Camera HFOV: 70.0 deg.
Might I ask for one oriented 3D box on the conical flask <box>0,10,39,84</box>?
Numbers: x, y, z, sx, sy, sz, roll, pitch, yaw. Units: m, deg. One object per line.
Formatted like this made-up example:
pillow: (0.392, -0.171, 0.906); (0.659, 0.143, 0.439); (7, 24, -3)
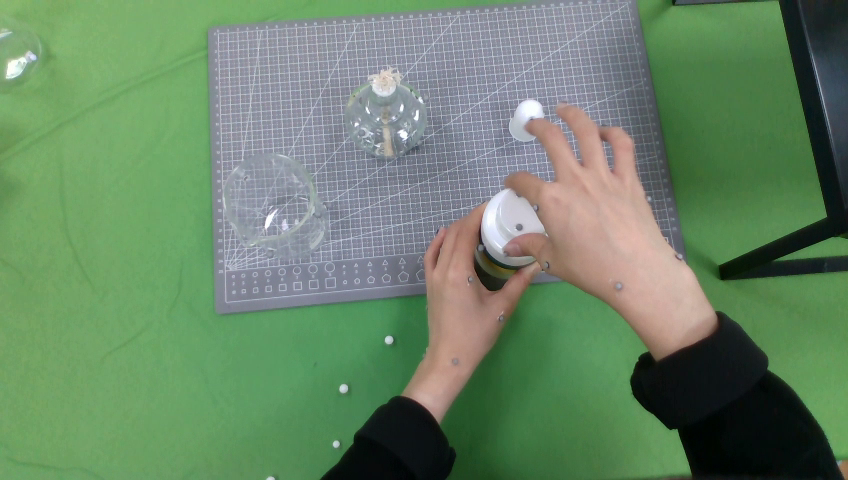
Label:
conical flask: (-0.428, -0.205, 0.562); (0.075, 0.122, 0.075); (0, 77, 0)

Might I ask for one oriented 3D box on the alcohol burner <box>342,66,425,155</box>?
alcohol burner: (-0.037, -0.123, 0.554); (0.078, 0.119, 0.077); (1, 76, -2)

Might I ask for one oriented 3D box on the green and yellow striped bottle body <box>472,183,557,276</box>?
green and yellow striped bottle body: (0.078, -0.009, 0.527); (0.063, 0.120, 0.063); (0, 77, -1)

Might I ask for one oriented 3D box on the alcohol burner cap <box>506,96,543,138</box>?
alcohol burner cap: (0.100, -0.123, 0.593); (0.034, 0.048, 0.033); (0, 77, -1)

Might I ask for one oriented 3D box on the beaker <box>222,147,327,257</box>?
beaker: (-0.128, -0.025, 0.538); (0.074, 0.100, 0.083); (23, 78, 5)

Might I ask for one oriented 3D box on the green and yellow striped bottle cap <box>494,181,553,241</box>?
green and yellow striped bottle cap: (0.078, -0.023, 0.472); (0.045, 0.020, 0.045); (0, 78, 0)
